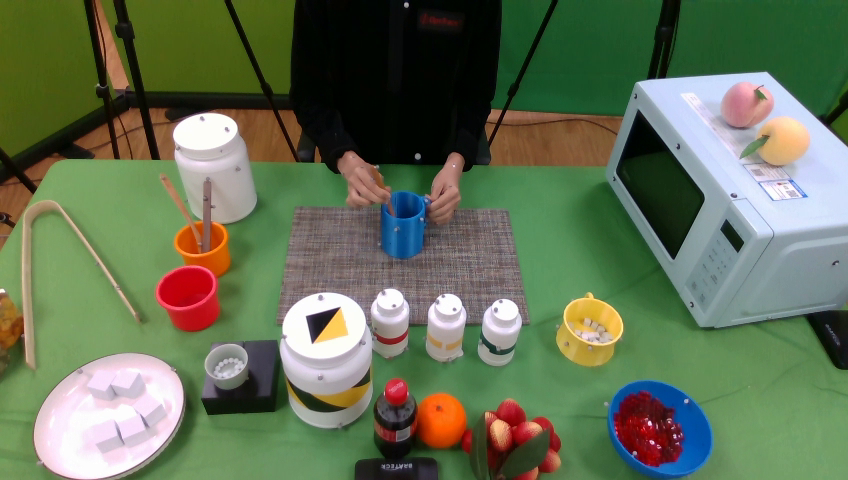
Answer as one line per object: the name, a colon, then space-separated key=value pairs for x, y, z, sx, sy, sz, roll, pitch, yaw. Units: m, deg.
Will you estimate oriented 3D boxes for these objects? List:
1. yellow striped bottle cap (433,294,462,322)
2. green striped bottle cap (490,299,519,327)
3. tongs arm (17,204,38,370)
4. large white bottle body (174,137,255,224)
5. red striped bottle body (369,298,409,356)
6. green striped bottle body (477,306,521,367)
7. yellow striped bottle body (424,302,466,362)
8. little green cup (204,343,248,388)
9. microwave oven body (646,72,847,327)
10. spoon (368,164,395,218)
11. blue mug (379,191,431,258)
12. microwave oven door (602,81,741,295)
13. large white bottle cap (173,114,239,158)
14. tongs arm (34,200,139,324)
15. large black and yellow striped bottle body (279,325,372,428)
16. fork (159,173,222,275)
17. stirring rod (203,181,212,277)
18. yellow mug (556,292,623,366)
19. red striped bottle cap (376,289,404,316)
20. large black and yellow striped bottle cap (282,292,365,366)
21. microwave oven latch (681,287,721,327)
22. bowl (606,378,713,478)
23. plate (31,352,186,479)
yellow striped bottle cap: x=0.037 y=0.107 z=0.958 sx=0.044 sy=0.019 sz=0.044 roll=2 pitch=45 yaw=-2
green striped bottle cap: x=0.128 y=0.115 z=0.958 sx=0.044 sy=0.020 sz=0.044 roll=1 pitch=47 yaw=-1
tongs arm: x=-0.698 y=0.069 z=1.068 sx=0.028 sy=0.028 sz=0.385 roll=-20 pitch=50 yaw=-13
large white bottle body: x=-0.408 y=-0.136 z=1.183 sx=0.131 sy=0.185 sz=0.130 roll=2 pitch=46 yaw=-2
red striped bottle body: x=-0.058 y=0.134 z=0.996 sx=0.063 sy=0.120 sz=0.062 roll=4 pitch=47 yaw=-4
green striped bottle body: x=0.124 y=0.151 z=0.995 sx=0.063 sy=0.120 sz=0.063 roll=2 pitch=46 yaw=-2
yellow striped bottle body: x=0.035 y=0.143 z=0.995 sx=0.063 sy=0.121 sz=0.062 roll=3 pitch=46 yaw=-2
little green cup: x=-0.294 y=0.190 z=0.909 sx=0.061 sy=0.039 sz=0.061 roll=1 pitch=48 yaw=-1
microwave oven body: x=0.607 y=-0.089 z=1.164 sx=0.326 sy=0.261 sz=0.438 roll=-7 pitch=46 yaw=-10
spoon: x=-0.068 y=-0.064 z=1.106 sx=0.041 sy=0.195 sz=0.021 roll=13 pitch=49 yaw=31
blue mug: x=-0.032 y=-0.036 z=1.168 sx=0.116 sy=0.106 sz=0.082 roll=-31 pitch=56 yaw=-30
microwave oven door: x=0.456 y=-0.107 z=1.162 sx=0.039 sy=0.245 sz=0.353 roll=-7 pitch=47 yaw=-11
large white bottle cap: x=-0.403 y=-0.195 z=1.122 sx=0.115 sy=0.018 sz=0.114 roll=2 pitch=47 yaw=-2
tongs arm: x=-0.622 y=0.034 z=1.105 sx=0.051 sy=0.026 sz=0.382 roll=-32 pitch=56 yaw=-26
large black and yellow striped bottle body: x=-0.143 y=0.181 z=0.900 sx=0.131 sy=0.185 sz=0.130 roll=2 pitch=46 yaw=-2
fork: x=-0.427 y=-0.029 z=1.103 sx=0.028 sy=0.018 sz=0.207 roll=-31 pitch=99 yaw=-30
stirring rod: x=-0.396 y=-0.021 z=1.108 sx=0.014 sy=0.006 sz=0.176 roll=-1 pitch=89 yaw=-1
yellow mug: x=0.285 y=0.145 z=1.051 sx=0.100 sy=0.064 sz=0.130 roll=7 pitch=45 yaw=3
red striped bottle cap: x=-0.055 y=0.098 z=0.959 sx=0.044 sy=0.018 sz=0.044 roll=0 pitch=48 yaw=0
large black and yellow striped bottle cap: x=-0.138 y=0.121 z=0.841 sx=0.115 sy=0.019 sz=0.114 roll=3 pitch=47 yaw=-3
microwave oven latch: x=0.494 y=0.119 z=1.087 sx=0.030 sy=0.029 sz=0.078 roll=-6 pitch=46 yaw=-9
bowl: x=0.340 y=0.292 z=0.906 sx=0.151 sy=0.077 sz=0.150 roll=2 pitch=46 yaw=-2
plate: x=-0.459 y=0.262 z=0.898 sx=0.209 sy=0.038 sz=0.208 roll=2 pitch=46 yaw=-2
